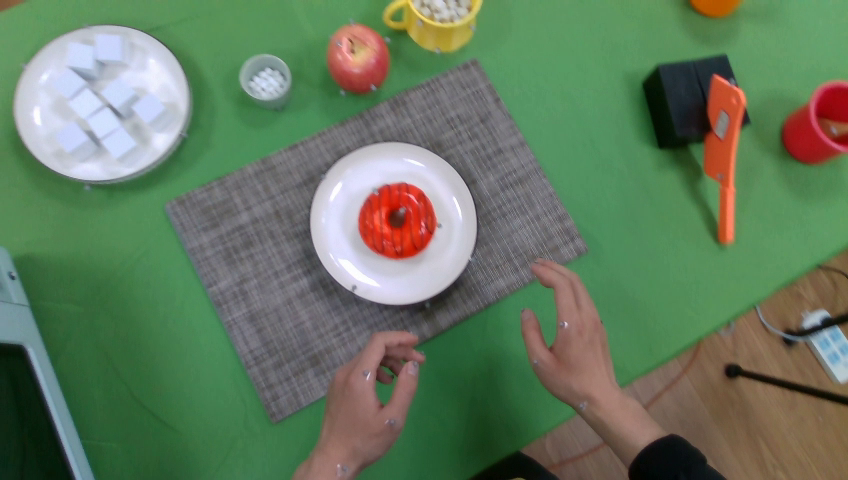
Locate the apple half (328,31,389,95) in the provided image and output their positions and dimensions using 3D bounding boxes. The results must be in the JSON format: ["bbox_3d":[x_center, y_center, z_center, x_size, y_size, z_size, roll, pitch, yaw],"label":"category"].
[{"bbox_3d":[-0.091,-0.218,0.777,0.081,0.075,0.053,36,82,-1],"label":"apple half"}]

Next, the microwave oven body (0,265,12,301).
[{"bbox_3d":[-0.537,0.235,0.548,0.326,0.261,0.440,-24,82,-10],"label":"microwave oven body"}]

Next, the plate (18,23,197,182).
[{"bbox_3d":[-0.389,-0.169,0.759,0.208,0.039,0.206,1,79,-5],"label":"plate"}]

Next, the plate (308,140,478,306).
[{"bbox_3d":[-0.038,-0.020,0.755,0.209,0.038,0.208,1,79,-5],"label":"plate"}]

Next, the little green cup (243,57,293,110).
[{"bbox_3d":[-0.198,-0.200,0.781,0.061,0.039,0.061,1,78,-4],"label":"little green cup"}]

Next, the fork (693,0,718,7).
[{"bbox_3d":[0.467,-0.380,0.816,0.207,0.019,0.028,-26,76,35],"label":"fork"}]

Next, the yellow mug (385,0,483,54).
[{"bbox_3d":[0.011,-0.304,0.806,0.131,0.064,0.099,-16,80,-7],"label":"yellow mug"}]

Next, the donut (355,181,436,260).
[{"bbox_3d":[-0.035,-0.024,0.745,0.099,0.048,0.098,1,81,-4],"label":"donut"}]

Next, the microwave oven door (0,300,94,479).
[{"bbox_3d":[-0.387,0.214,0.560,0.039,0.244,0.354,-25,81,-9],"label":"microwave oven door"}]

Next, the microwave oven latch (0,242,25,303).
[{"bbox_3d":[-0.486,0.038,0.690,0.030,0.029,0.079,-23,82,-10],"label":"microwave oven latch"}]

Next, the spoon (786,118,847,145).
[{"bbox_3d":[0.578,-0.142,0.782,0.192,0.022,0.041,7,68,42],"label":"spoon"}]

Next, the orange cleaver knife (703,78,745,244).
[{"bbox_3d":[0.383,-0.100,0.785,0.012,0.076,0.212,-8,111,-4],"label":"orange cleaver knife"}]

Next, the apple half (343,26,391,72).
[{"bbox_3d":[-0.068,-0.249,0.784,0.081,0.081,0.033,35,82,3],"label":"apple half"}]
